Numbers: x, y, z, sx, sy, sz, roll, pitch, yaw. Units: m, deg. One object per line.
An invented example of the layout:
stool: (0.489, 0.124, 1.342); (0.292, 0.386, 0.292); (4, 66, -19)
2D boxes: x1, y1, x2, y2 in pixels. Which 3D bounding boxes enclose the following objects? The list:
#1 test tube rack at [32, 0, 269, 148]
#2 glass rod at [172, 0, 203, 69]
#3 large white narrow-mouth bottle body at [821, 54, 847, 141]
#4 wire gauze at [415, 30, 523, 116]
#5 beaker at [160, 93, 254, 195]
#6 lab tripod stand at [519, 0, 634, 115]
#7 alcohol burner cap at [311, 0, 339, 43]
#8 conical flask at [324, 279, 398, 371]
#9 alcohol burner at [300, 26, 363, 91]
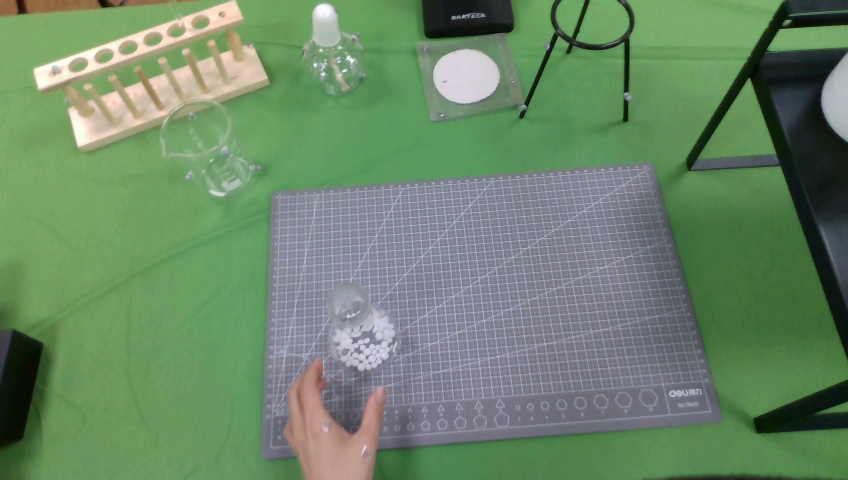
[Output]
test tube rack: (-0.324, -0.203, 0.736); (0.242, 0.086, 0.066); (-23, 67, -9)
glass rod: (-0.280, -0.267, 0.690); (0.008, 0.201, 0.008); (2, 63, -3)
large white narrow-mouth bottle body: (0.383, -0.153, 0.436); (0.102, 0.196, 0.101); (-2, 64, 4)
wire gauze: (0.056, -0.218, 0.776); (0.121, 0.011, 0.124); (-8, 65, -4)
beaker: (-0.240, -0.101, 0.679); (0.073, 0.101, 0.084); (40, 73, 18)
lab tripod stand: (0.184, -0.216, 0.703); (0.148, 0.132, 0.147); (0, 64, 0)
alcohol burner cap: (-0.115, -0.256, 0.699); (0.034, 0.048, 0.033); (3, 64, -6)
conical flask: (-0.066, 0.076, 0.579); (0.075, 0.123, 0.074); (-1, 65, 2)
alcohol burner: (-0.114, -0.239, 0.732); (0.078, 0.120, 0.077); (0, 63, 1)
